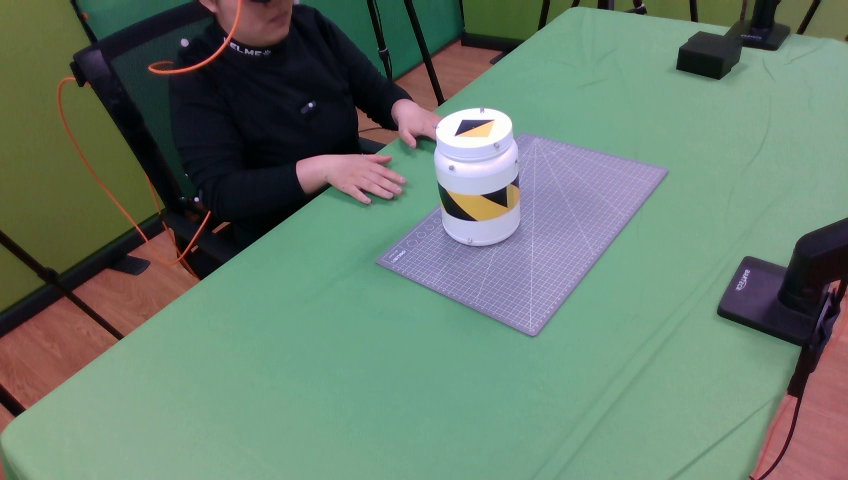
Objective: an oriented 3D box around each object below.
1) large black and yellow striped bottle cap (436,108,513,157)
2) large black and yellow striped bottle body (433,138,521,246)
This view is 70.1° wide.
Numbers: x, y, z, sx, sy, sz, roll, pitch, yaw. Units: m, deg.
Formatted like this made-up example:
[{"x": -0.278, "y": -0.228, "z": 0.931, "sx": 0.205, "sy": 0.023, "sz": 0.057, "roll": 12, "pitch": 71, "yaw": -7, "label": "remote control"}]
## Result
[{"x": 0.075, "y": -0.162, "z": 0.898, "sx": 0.115, "sy": 0.019, "sz": 0.114, "roll": -5, "pitch": 41, "yaw": 5, "label": "large black and yellow striped bottle cap"}, {"x": 0.085, "y": -0.097, "z": 0.951, "sx": 0.131, "sy": 0.185, "sz": 0.130, "roll": -5, "pitch": 40, "yaw": 5, "label": "large black and yellow striped bottle body"}]
